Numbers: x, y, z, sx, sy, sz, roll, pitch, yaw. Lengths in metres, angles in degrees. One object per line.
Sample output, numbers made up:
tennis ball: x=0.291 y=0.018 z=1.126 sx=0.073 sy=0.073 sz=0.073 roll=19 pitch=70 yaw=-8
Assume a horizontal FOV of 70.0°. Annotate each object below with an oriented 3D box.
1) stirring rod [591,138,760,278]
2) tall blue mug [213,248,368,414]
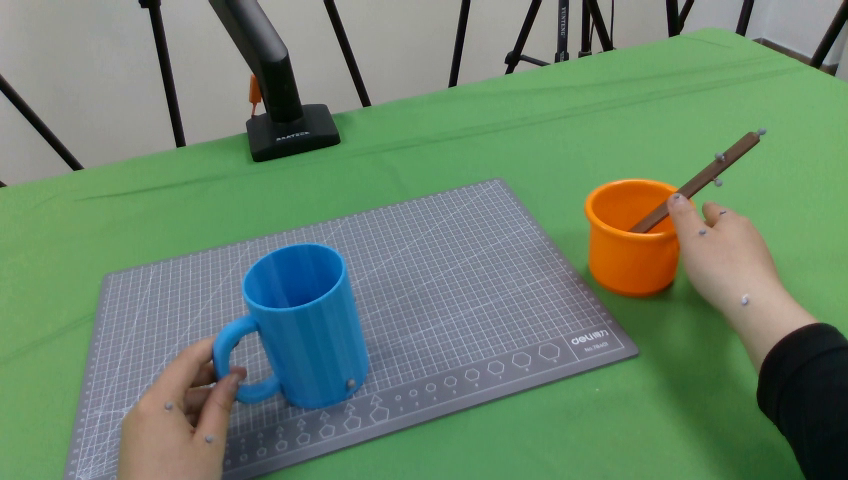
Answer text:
stirring rod: x=0.216 y=-0.025 z=0.531 sx=0.176 sy=0.006 sz=0.014 roll=-45 pitch=34 yaw=22
tall blue mug: x=-0.096 y=0.080 z=0.461 sx=0.077 sy=0.109 sz=0.106 roll=11 pitch=41 yaw=22
